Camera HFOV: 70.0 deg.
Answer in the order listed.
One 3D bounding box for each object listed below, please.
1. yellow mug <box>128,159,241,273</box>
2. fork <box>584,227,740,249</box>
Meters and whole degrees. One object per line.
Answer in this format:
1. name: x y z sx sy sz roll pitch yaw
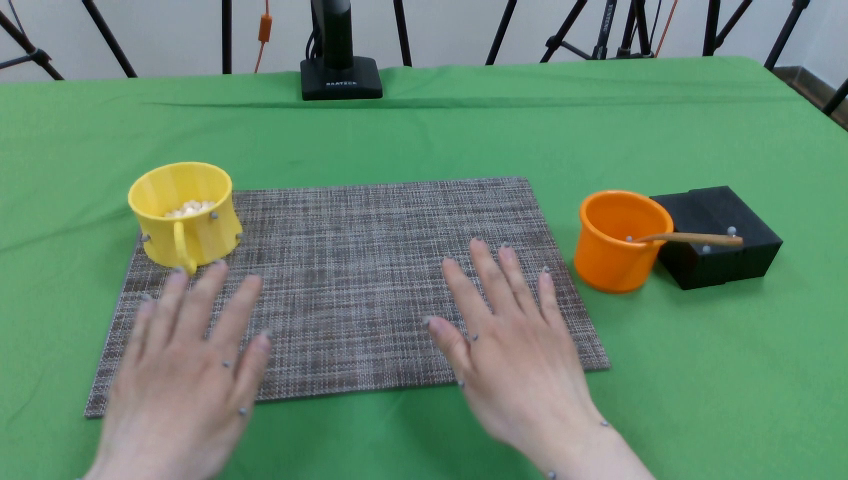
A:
1. yellow mug: -0.244 -0.021 0.623 0.100 0.064 0.129 -8 44 -13
2. fork: 0.216 -0.002 0.573 0.028 0.018 0.207 -1 -3 -17
